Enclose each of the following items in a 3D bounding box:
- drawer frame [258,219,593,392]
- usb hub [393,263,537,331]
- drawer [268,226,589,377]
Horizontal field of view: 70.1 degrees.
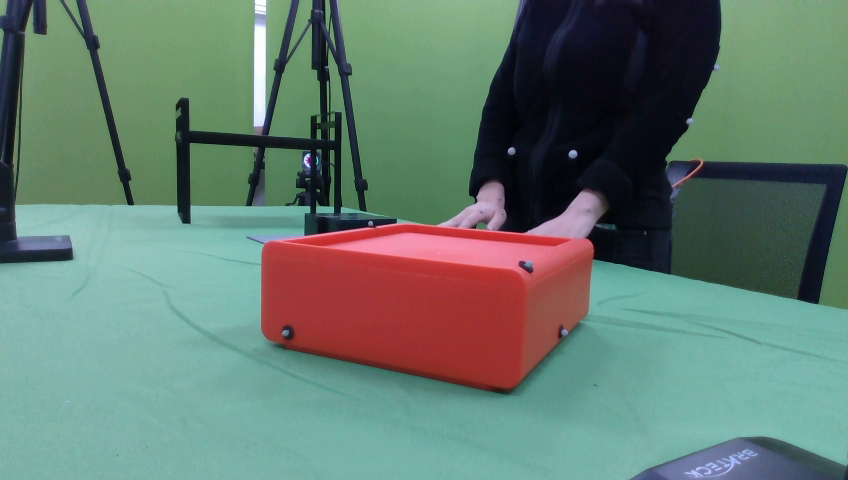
[{"bbox_3d":[0.015,0.036,0.492,0.201,0.082,0.214,6,9,24],"label":"drawer frame"},{"bbox_3d":[0.033,0.047,0.533,0.124,0.025,0.050,16,14,39],"label":"usb hub"},{"bbox_3d":[0.015,0.037,0.493,0.194,0.073,0.212,7,8,25],"label":"drawer"}]
